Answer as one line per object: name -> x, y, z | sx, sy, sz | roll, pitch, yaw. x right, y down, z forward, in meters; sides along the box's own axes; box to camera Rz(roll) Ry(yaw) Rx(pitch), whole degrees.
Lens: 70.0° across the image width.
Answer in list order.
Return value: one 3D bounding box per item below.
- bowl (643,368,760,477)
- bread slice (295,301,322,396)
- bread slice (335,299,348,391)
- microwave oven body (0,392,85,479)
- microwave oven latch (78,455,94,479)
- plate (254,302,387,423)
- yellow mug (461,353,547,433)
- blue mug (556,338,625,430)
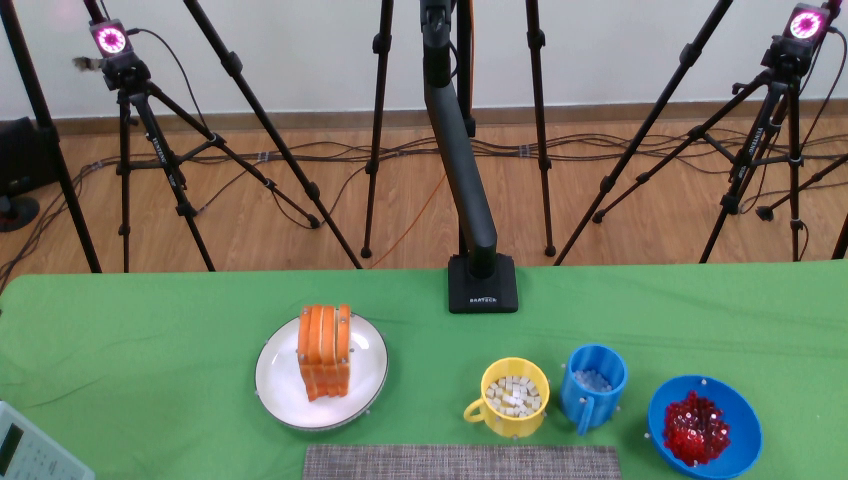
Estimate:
bowl -> 0.379, 0.266, 0.853 | 0.151, 0.077, 0.150 | -1, 51, 2
bread slice -> -0.174, 0.156, 0.921 | 0.018, 0.135, 0.106 | -2, 47, -1
bread slice -> -0.124, 0.155, 0.920 | 0.019, 0.132, 0.104 | 1, 52, -7
microwave oven body -> -0.638, 0.413, 0.649 | 0.326, 0.262, 0.437 | 0, 51, 2
microwave oven latch -> -0.482, 0.337, 0.830 | 0.030, 0.030, 0.078 | 3, 51, 4
plate -> -0.161, 0.194, 0.960 | 0.207, 0.039, 0.205 | -1, 51, 1
yellow mug -> 0.116, 0.232, 0.900 | 0.131, 0.064, 0.099 | -19, 52, -11
blue mug -> 0.236, 0.219, 0.880 | 0.082, 0.107, 0.116 | 15, 53, 15
